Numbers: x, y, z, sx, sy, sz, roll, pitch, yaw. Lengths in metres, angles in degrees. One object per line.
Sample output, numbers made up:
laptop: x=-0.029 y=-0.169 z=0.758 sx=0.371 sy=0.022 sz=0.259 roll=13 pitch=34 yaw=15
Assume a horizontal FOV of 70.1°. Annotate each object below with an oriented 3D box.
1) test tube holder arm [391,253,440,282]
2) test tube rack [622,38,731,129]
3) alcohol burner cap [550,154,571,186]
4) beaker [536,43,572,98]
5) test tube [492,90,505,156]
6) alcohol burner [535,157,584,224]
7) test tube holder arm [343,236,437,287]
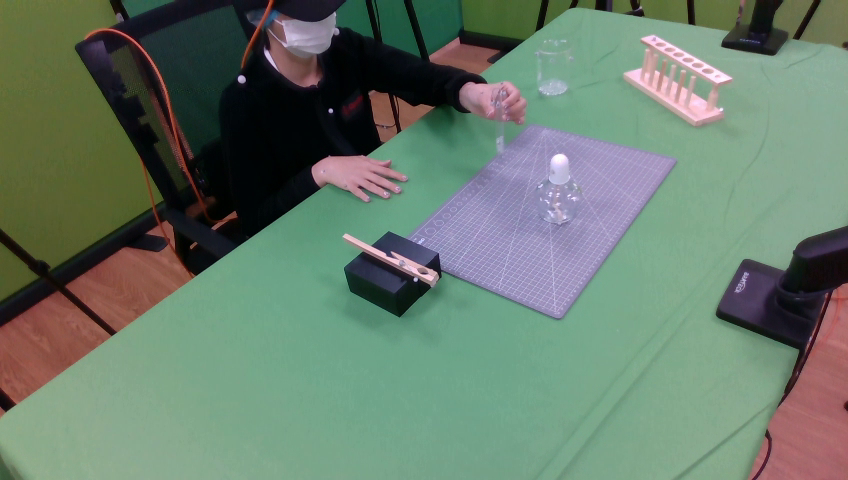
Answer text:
test tube holder arm: x=-0.015 y=0.039 z=0.858 sx=0.087 sy=0.015 sz=0.010 roll=22 pitch=57 yaw=32
test tube rack: x=0.506 y=-0.325 z=1.234 sx=0.067 sy=0.085 sz=0.240 roll=-18 pitch=41 yaw=-11
alcohol burner cap: x=0.212 y=-0.112 z=0.944 sx=0.034 sy=0.048 sz=0.033 roll=-7 pitch=44 yaw=7
beaker: x=0.280 y=-0.368 z=1.311 sx=0.074 sy=0.101 sz=0.084 roll=4 pitch=41 yaw=14
test tube: x=0.129 y=-0.198 z=1.042 sx=0.017 sy=0.151 sz=0.017 roll=-4 pitch=55 yaw=7
alcohol burner: x=0.217 y=-0.085 z=0.967 sx=0.078 sy=0.119 sz=0.077 roll=-3 pitch=41 yaw=3
test tube holder arm: x=-0.054 y=0.029 z=0.879 sx=0.177 sy=0.015 sz=0.013 roll=22 pitch=56 yaw=32
